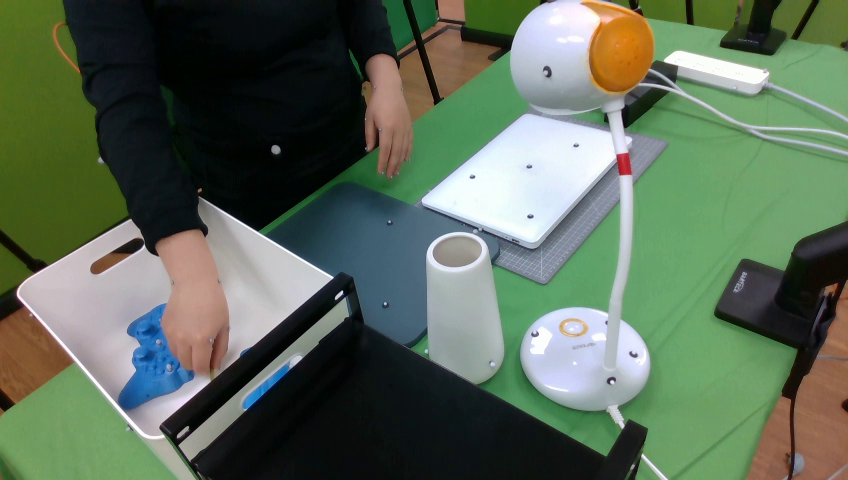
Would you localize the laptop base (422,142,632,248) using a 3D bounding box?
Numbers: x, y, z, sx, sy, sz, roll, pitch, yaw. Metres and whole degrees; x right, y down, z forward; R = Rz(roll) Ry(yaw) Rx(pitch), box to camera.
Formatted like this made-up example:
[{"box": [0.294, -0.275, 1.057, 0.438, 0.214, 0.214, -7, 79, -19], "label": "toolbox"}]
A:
[{"box": [0.192, -0.117, 1.087, 0.233, 0.023, 0.355, 20, 47, 35], "label": "laptop base"}]

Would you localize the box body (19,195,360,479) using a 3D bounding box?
[{"box": [-0.288, 0.118, 0.772, 0.361, 0.161, 0.255, 26, 50, 33], "label": "box body"}]

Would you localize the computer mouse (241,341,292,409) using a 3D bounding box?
[{"box": [-0.201, 0.177, 0.776, 0.063, 0.041, 0.116, -11, 44, -8], "label": "computer mouse"}]

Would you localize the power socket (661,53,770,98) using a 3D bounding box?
[{"box": [0.617, -0.355, 1.292, 0.225, 0.033, 0.072, 29, 53, 35], "label": "power socket"}]

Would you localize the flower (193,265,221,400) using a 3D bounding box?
[{"box": [-0.285, 0.147, 0.808, 0.044, 0.038, 0.358, 5, 35, -32], "label": "flower"}]

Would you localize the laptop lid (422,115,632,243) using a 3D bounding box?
[{"box": [0.189, -0.126, 1.081, 0.239, 0.013, 0.358, 23, 48, 35], "label": "laptop lid"}]

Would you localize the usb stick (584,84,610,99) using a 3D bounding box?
[{"box": [0.353, -0.306, 1.253, 0.027, 0.021, 0.058, -2, 1, -39], "label": "usb stick"}]

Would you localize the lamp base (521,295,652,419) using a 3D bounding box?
[{"box": [0.200, 0.095, 0.710, 0.161, 0.181, 0.178, -16, 43, -10], "label": "lamp base"}]

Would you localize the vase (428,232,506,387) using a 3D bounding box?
[{"box": [0.050, 0.087, 0.728, 0.098, 0.201, 0.097, -3, 40, 3], "label": "vase"}]

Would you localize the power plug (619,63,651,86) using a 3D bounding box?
[{"box": [0.435, -0.341, 1.266, 0.035, 0.053, 0.072, 5, 31, -14], "label": "power plug"}]

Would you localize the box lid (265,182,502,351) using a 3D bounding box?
[{"box": [-0.087, 0.023, 0.971, 0.368, 0.015, 0.264, 23, 49, 31], "label": "box lid"}]

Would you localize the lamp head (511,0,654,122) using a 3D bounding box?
[{"box": [0.155, -0.168, 0.563, 0.113, 0.113, 0.122, -18, 23, -12], "label": "lamp head"}]

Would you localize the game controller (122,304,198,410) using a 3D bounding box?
[{"box": [-0.364, 0.150, 0.829, 0.097, 0.052, 0.154, -14, 41, -9], "label": "game controller"}]
